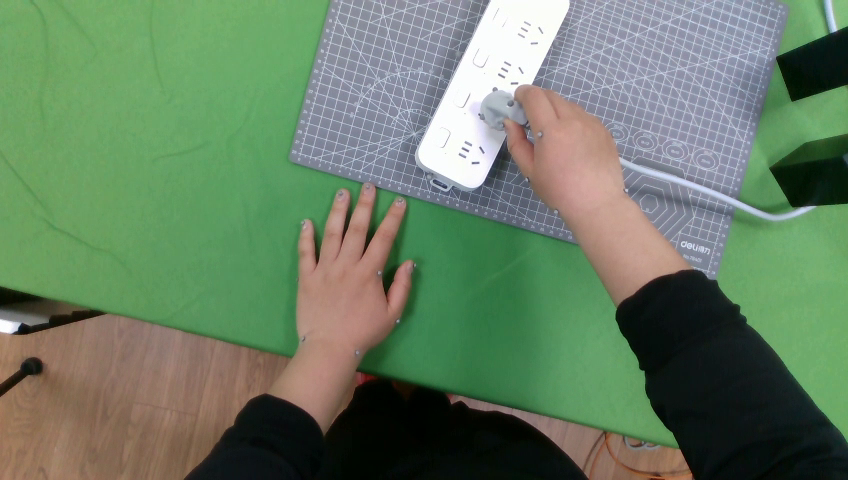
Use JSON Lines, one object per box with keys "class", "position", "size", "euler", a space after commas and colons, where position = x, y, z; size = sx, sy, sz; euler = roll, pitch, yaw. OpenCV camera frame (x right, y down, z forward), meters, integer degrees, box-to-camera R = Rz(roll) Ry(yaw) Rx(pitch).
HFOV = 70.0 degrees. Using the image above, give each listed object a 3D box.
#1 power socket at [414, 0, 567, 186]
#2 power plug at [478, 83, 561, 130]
{"class": "power socket", "position": [0.064, -0.158, 0.583], "size": [0.072, 0.032, 0.226], "euler": [26, 89, -7]}
{"class": "power plug", "position": [0.081, -0.112, 0.553], "size": [0.073, 0.052, 0.035], "euler": [41, 84, -11]}
